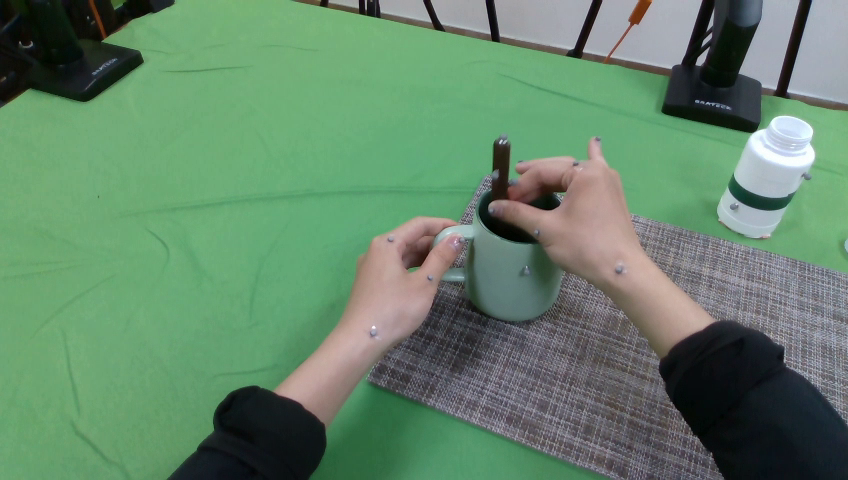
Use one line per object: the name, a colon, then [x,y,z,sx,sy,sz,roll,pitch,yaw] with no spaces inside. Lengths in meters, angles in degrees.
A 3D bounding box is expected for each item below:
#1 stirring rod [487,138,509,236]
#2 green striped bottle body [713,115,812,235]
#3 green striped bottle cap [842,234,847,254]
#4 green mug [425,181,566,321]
stirring rod: [0.062,-0.022,0.520,0.014,0.178,0.006,13,56,13]
green striped bottle body: [0.347,-0.068,0.620,0.063,0.120,0.062,0,46,0]
green striped bottle cap: [0.458,0.005,0.623,0.044,0.020,0.044,1,42,-1]
green mug: [0.063,0.013,0.545,0.125,0.106,0.091,-5,46,-5]
